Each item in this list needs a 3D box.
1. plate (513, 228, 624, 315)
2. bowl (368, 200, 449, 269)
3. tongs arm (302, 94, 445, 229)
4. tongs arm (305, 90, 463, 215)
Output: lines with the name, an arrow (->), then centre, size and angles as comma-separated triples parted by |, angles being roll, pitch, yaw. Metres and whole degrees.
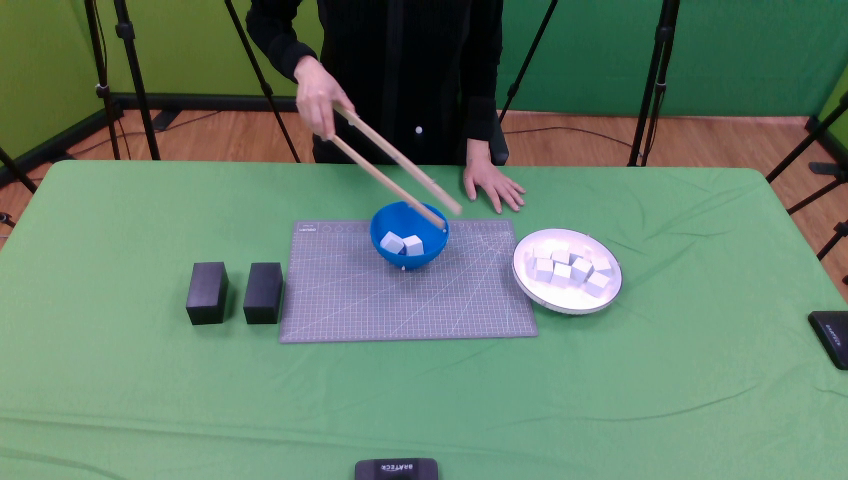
plate -> 0.268, 0.063, 1.146 | 0.208, 0.039, 0.206 | 3, 46, -3
bowl -> -0.031, 0.002, 1.151 | 0.151, 0.077, 0.150 | 2, 46, -2
tongs arm -> -0.101, -0.146, 1.111 | 0.386, 0.028, 0.028 | 41, 70, 17
tongs arm -> -0.081, -0.164, 1.123 | 0.051, 0.026, 0.383 | -39, 70, -22
